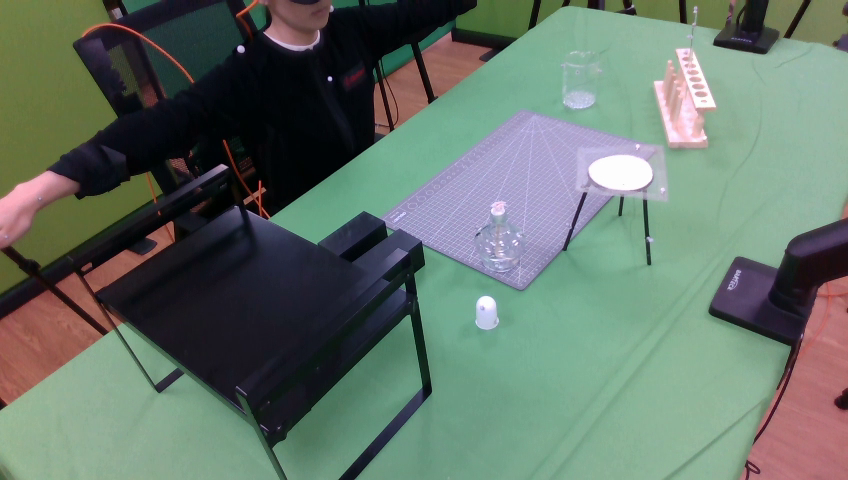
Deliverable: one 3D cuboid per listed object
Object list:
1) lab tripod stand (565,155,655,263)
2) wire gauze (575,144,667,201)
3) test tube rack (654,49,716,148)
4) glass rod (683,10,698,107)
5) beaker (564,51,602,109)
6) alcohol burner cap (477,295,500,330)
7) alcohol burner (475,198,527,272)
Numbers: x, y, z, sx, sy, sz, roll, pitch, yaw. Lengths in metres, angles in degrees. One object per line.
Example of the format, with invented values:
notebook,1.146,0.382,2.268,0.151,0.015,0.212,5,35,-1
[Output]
lab tripod stand,0.285,-0.046,0.901,0.148,0.132,0.147,-5,42,5
wire gauze,0.279,-0.100,0.860,0.124,0.011,0.121,4,43,15
test tube rack,0.502,-0.281,1.176,0.066,0.085,0.241,2,41,11
glass rod,0.501,-0.336,1.139,0.008,0.201,0.008,-8,43,8
beaker,0.326,-0.330,1.250,0.074,0.101,0.084,4,41,13
alcohol burner cap,0.089,0.097,0.833,0.034,0.048,0.033,-4,42,4
alcohol burner,0.113,-0.012,0.897,0.078,0.119,0.077,-6,40,6
